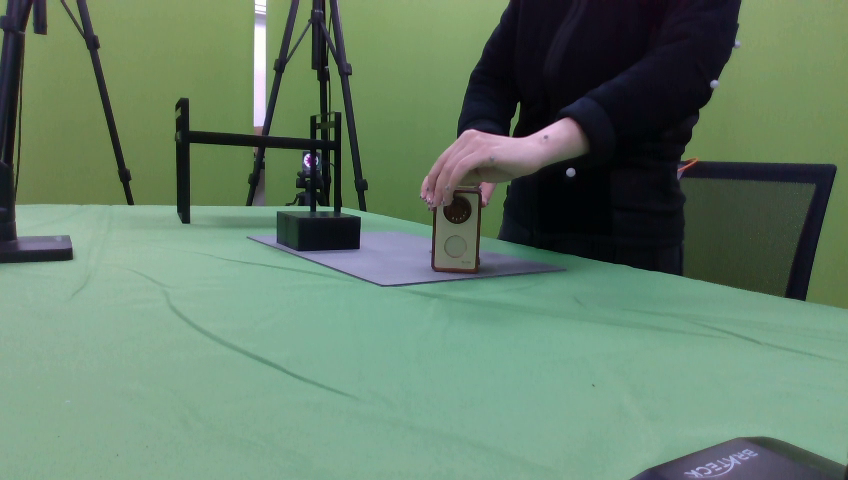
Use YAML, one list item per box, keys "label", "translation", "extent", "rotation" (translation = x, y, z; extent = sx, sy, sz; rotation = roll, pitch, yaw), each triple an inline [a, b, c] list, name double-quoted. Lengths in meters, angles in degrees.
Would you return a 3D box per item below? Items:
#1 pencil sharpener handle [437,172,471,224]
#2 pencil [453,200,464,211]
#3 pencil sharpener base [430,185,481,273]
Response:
- label: "pencil sharpener handle"
  translation: [0.032, -0.051, 0.728]
  extent: [0.036, 0.068, 0.030]
  rotation: [-24, 5, 7]
- label: "pencil"
  translation: [0.049, -0.049, 0.870]
  extent: [0.012, 0.012, 0.194]
  rotation: [3, 6, 5]
- label: "pencil sharpener base"
  translation: [0.042, -0.016, 0.783]
  extent: [0.061, 0.107, 0.076]
  rotation: [3, 8, 4]
